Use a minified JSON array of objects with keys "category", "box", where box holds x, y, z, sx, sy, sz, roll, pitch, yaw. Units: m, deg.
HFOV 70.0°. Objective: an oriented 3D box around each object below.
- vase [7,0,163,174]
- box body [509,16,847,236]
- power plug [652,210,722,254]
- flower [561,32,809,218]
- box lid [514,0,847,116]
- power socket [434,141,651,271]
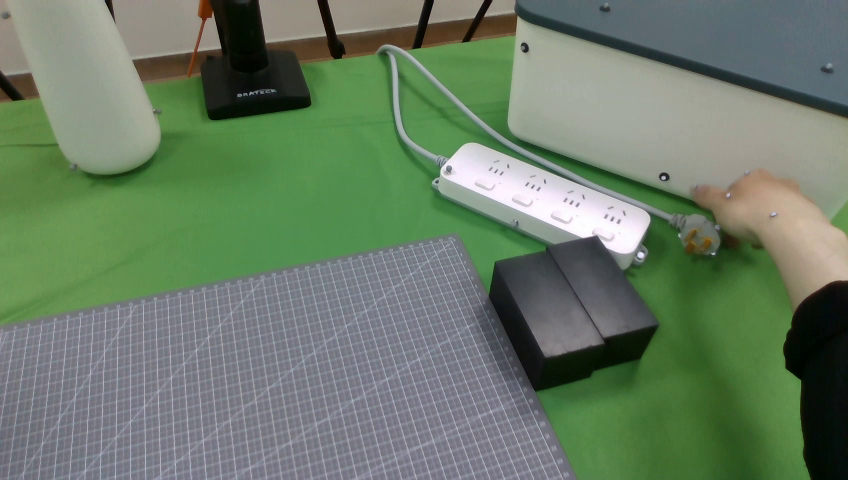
[{"category":"vase","box":[-0.324,-0.162,0.585,0.098,0.202,0.097,2,46,-2]},{"category":"box body","box":[0.299,-0.183,0.665,0.362,0.162,0.253,23,50,17]},{"category":"power plug","box":[0.254,-0.005,0.596,0.072,0.035,0.052,4,25,41]},{"category":"flower","box":[0.301,-0.143,0.725,0.044,0.038,0.358,-40,64,-5]},{"category":"box lid","box":[0.304,-0.232,0.611,0.369,0.015,0.262,23,51,17]},{"category":"power socket","box":[0.118,-0.038,0.610,0.225,0.033,0.072,26,50,20]}]
